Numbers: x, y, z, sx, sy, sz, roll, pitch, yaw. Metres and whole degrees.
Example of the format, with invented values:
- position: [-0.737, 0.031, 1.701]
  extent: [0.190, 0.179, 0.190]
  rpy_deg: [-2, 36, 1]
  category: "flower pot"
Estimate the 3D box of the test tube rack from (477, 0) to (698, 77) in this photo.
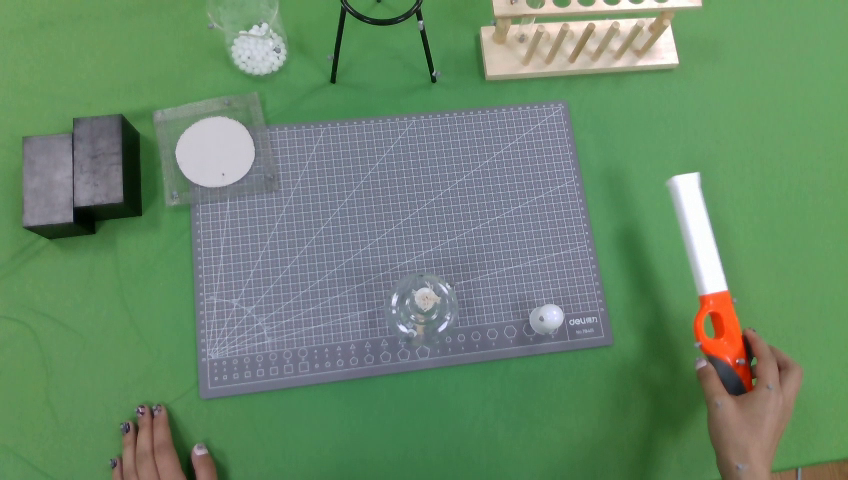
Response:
- position: [0.192, -0.252, 0.721]
  extent: [0.243, 0.085, 0.066]
  rpy_deg: [-5, 77, -5]
  category: "test tube rack"

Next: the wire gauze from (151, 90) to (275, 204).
- position: [-0.241, -0.107, 0.689]
  extent: [0.125, 0.011, 0.121]
  rpy_deg: [-12, 78, -6]
  category: "wire gauze"

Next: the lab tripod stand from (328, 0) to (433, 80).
- position: [-0.052, -0.249, 0.676]
  extent: [0.148, 0.132, 0.147]
  rpy_deg: [1, 76, -2]
  category: "lab tripod stand"

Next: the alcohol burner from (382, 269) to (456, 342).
- position: [-0.004, 0.064, 0.617]
  extent: [0.078, 0.119, 0.077]
  rpy_deg: [1, 75, -5]
  category: "alcohol burner"

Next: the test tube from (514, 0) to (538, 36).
- position: [0.122, -0.276, 0.670]
  extent: [0.017, 0.151, 0.017]
  rpy_deg: [1, 73, -4]
  category: "test tube"

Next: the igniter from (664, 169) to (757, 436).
- position: [0.297, 0.061, 0.629]
  extent: [0.057, 0.025, 0.275]
  rpy_deg: [-9, 82, -12]
  category: "igniter"

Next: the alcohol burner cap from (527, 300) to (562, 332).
- position: [0.134, 0.082, 0.661]
  extent: [0.034, 0.048, 0.033]
  rpy_deg: [1, 76, -3]
  category: "alcohol burner cap"

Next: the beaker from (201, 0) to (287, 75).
- position: [-0.194, -0.236, 0.679]
  extent: [0.074, 0.100, 0.084]
  rpy_deg: [-37, 83, -11]
  category: "beaker"
